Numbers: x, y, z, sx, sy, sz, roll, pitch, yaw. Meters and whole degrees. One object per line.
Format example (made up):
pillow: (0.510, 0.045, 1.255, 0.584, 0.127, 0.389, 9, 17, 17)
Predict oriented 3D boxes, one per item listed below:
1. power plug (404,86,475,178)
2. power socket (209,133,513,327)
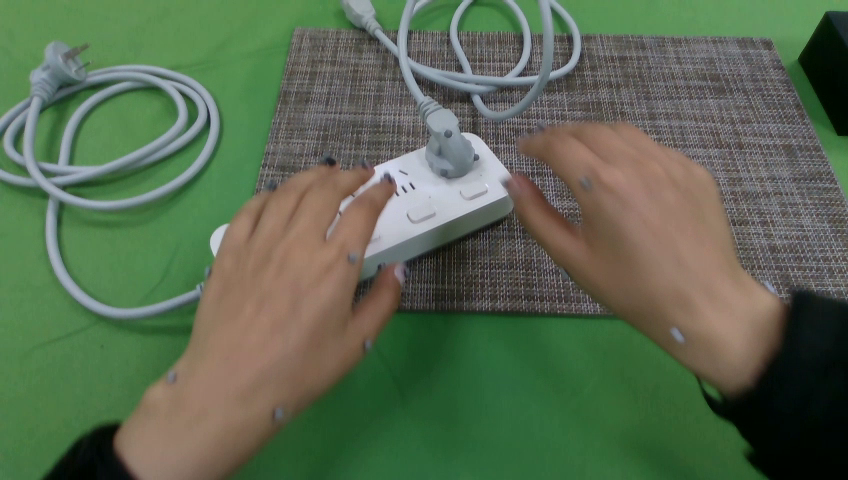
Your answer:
power plug: (0.012, -0.075, 0.442, 0.035, 0.053, 0.072, -15, 57, -10)
power socket: (-0.039, -0.012, 0.425, 0.227, 0.033, 0.071, -24, 58, -16)
